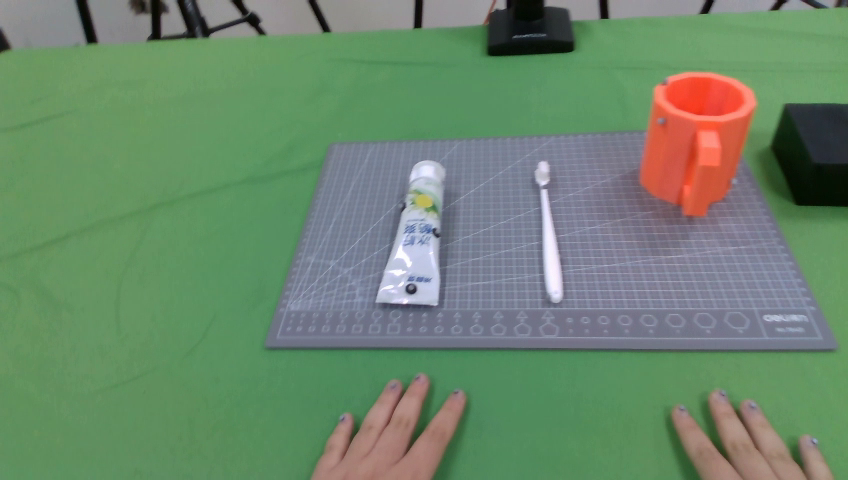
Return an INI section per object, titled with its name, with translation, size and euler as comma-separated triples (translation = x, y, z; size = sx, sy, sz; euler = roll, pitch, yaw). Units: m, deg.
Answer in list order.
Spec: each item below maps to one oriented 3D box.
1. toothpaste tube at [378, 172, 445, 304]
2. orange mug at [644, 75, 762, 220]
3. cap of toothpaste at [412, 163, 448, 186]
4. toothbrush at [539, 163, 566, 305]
[toothpaste tube]
translation = -0.005, -0.007, 0.568
size = 0.055, 0.035, 0.163
euler = -2, 46, 10
[orange mug]
translation = 0.257, -0.082, 0.564
size = 0.083, 0.102, 0.125
euler = 5, 40, 13
[cap of toothpaste]
translation = 0.006, -0.063, 0.620
size = 0.037, 0.038, 0.011
euler = 2, 48, 9
[toothbrush]
translation = 0.120, -0.012, 0.566
size = 0.014, 0.017, 0.180
euler = 9, 45, -3
